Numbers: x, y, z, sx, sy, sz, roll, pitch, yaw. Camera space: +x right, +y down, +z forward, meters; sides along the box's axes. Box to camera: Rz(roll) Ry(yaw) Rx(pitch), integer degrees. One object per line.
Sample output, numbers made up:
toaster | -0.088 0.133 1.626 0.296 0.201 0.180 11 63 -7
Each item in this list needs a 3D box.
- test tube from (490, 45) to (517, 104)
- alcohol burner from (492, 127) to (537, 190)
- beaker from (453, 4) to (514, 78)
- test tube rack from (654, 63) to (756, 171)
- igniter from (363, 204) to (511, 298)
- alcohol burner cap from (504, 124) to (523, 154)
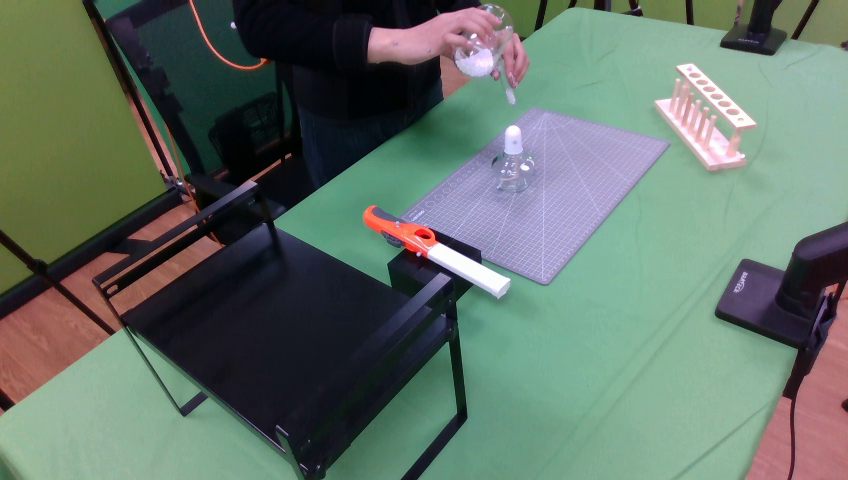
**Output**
test tube | 0.143 -0.291 1.074 0.017 0.151 0.017 -9 63 18
alcohol burner | 0.156 -0.146 1.046 0.078 0.119 0.077 -4 43 4
beaker | 0.093 -0.310 0.956 0.073 0.084 0.100 12 55 21
test tube rack | 0.511 -0.233 1.120 0.067 0.085 0.241 -8 41 -1
igniter | 0.007 0.009 0.887 0.274 0.025 0.057 29 50 32
alcohol burner cap | 0.151 -0.173 1.022 0.034 0.048 0.033 -4 36 3
